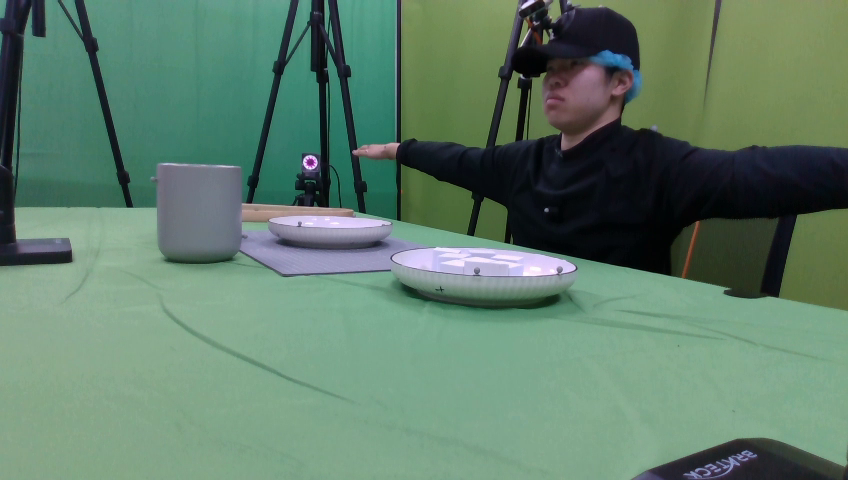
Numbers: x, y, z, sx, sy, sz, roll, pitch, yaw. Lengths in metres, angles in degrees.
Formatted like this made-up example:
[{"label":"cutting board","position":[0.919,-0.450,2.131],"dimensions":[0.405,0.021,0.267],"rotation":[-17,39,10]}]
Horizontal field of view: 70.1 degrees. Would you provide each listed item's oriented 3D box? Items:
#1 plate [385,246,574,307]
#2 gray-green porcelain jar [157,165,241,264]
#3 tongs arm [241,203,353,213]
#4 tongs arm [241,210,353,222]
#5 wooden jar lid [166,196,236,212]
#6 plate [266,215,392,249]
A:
[{"label":"plate","position":[0.060,0.041,0.678],"dimensions":[0.208,0.039,0.207],"rotation":[3,7,0]},{"label":"gray-green porcelain jar","position":[-0.300,-0.036,0.811],"dimensions":[0.106,0.126,0.106],"rotation":[2,8,0]},{"label":"tongs arm","position":[-0.361,-0.068,1.406],"dimensions":[0.386,0.026,0.050],"rotation":[2,8,-14]},{"label":"tongs arm","position":[-0.337,-0.053,1.329],"dimensions":[0.389,0.028,0.028],"rotation":[-1,6,-27]},{"label":"wooden jar lid","position":[-0.369,-0.059,1.001],"dimensions":[0.108,0.020,0.108],"rotation":[3,6,0]},{"label":"plate","position":[-0.159,-0.015,1.019],"dimensions":[0.209,0.038,0.209],"rotation":[3,7,0]}]
